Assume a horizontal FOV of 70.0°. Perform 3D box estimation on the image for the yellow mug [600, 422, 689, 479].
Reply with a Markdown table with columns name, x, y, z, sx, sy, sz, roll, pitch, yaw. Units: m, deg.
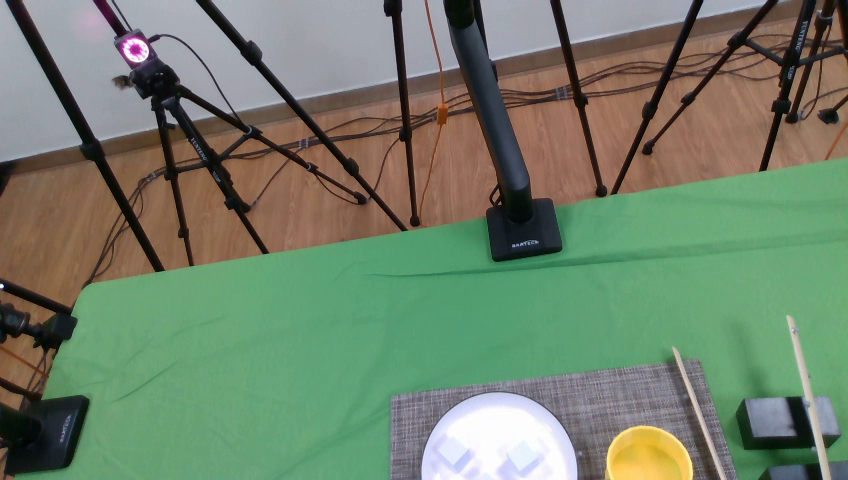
| name | x | y | z | sx | sy | sz | roll | pitch | yaw |
| --- | --- | --- | --- | --- | --- | --- | --- | --- | --- |
| yellow mug | 0.265 | 0.299 | 0.750 | 0.099 | 0.064 | 0.130 | 19 | 62 | 25 |

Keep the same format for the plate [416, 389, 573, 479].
| name | x | y | z | sx | sy | sz | roll | pitch | yaw |
| --- | --- | --- | --- | --- | --- | --- | --- | --- | --- |
| plate | 0.093 | 0.304 | 0.810 | 0.207 | 0.039 | 0.205 | -7 | 53 | 10 |

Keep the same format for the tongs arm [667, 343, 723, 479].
| name | x | y | z | sx | sy | sz | roll | pitch | yaw |
| --- | --- | --- | --- | --- | --- | --- | --- | --- | --- |
| tongs arm | 0.376 | 0.297 | 0.744 | 0.028 | 0.028 | 0.383 | -28 | 48 | 21 |

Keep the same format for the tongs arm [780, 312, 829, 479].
| name | x | y | z | sx | sy | sz | roll | pitch | yaw |
| --- | --- | --- | --- | --- | --- | --- | --- | --- | --- |
| tongs arm | 0.440 | 0.268 | 0.701 | 0.050 | 0.027 | 0.381 | -19 | 53 | 33 |
